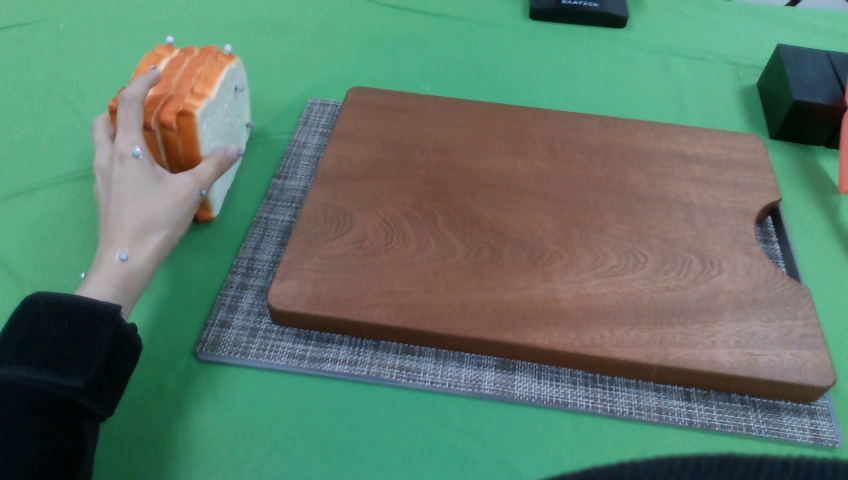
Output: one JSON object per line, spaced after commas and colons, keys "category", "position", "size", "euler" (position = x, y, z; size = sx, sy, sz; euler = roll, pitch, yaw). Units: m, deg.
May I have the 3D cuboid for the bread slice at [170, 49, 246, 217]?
{"category": "bread slice", "position": [-0.177, -0.099, 0.514], "size": [0.019, 0.106, 0.130], "euler": [6, 43, -2]}

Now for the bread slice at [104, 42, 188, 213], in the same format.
{"category": "bread slice", "position": [-0.228, -0.101, 0.515], "size": [0.018, 0.108, 0.133], "euler": [6, 42, -5]}

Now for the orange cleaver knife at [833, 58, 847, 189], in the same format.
{"category": "orange cleaver knife", "position": [0.390, -0.078, 0.542], "size": [0.012, 0.077, 0.210], "euler": [9, 79, 4]}
